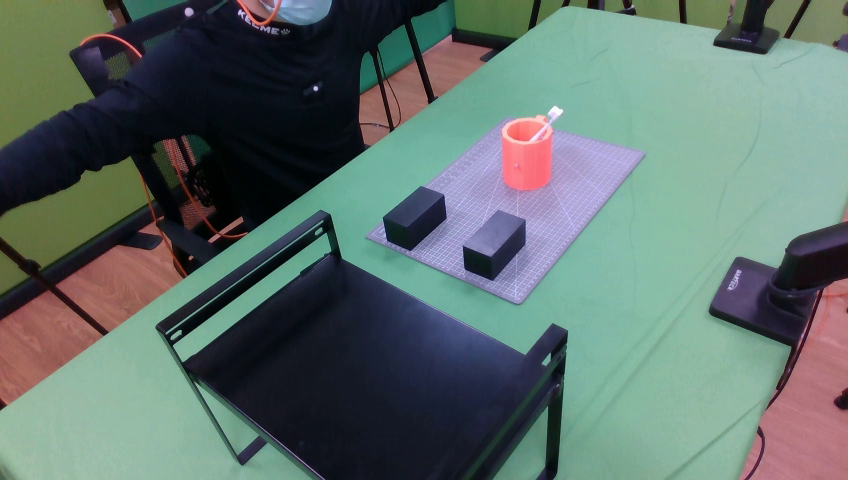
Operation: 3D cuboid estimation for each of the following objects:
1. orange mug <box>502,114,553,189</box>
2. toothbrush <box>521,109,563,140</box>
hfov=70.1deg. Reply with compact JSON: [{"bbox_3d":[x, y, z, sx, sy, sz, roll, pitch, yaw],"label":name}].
[{"bbox_3d":[0.190,-0.164,1.071,0.083,0.101,0.126,16,50,25],"label":"orange mug"},{"bbox_3d":[0.185,-0.181,1.016,0.017,0.181,0.014,-4,81,-16],"label":"toothbrush"}]
